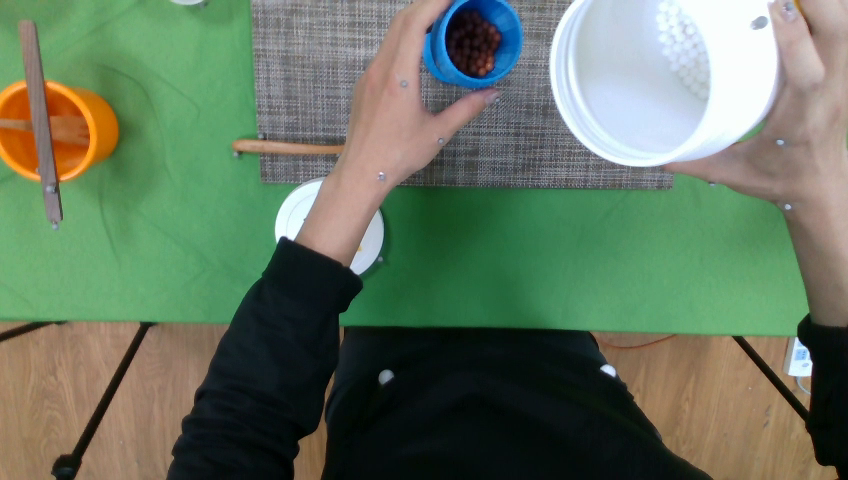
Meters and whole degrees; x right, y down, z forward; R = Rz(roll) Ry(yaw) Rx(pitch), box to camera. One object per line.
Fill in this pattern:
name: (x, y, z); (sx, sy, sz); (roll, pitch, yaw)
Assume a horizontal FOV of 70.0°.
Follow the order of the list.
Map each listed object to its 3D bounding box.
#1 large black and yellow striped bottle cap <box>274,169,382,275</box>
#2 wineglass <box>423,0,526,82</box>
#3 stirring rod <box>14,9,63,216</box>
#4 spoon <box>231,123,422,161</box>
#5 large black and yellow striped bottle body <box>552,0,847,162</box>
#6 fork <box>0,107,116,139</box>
large black and yellow striped bottle cap: (-0.102, -0.018, 0.648); (0.115, 0.018, 0.115); (-2, 110, -6)
wineglass: (0.038, -0.176, 0.531); (0.074, 0.171, 0.074); (-2, 106, -5)
stirring rod: (-0.335, -0.107, 0.528); (0.014, 0.006, 0.177); (0, 107, -5)
spoon: (-0.099, -0.101, 0.618); (0.194, 0.021, 0.042); (0, 126, -5)
large black and yellow striped bottle body: (0.182, -0.132, 0.395); (0.184, 0.130, 0.131); (-30, 110, -33)
fork: (-0.378, -0.112, 0.526); (0.208, 0.018, 0.028); (-1, 118, -51)
